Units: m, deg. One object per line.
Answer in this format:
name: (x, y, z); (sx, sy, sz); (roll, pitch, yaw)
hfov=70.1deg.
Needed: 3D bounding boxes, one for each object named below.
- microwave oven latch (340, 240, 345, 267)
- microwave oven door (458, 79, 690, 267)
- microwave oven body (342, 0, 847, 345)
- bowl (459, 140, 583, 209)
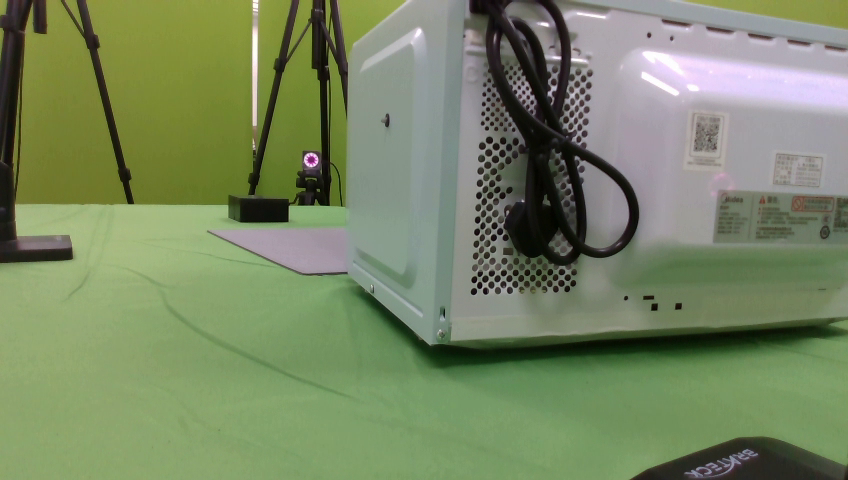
microwave oven latch: (-0.052, 0.016, 0.662); (0.079, 0.029, 0.030); (1, 7, -18)
microwave oven door: (0.200, -0.104, 0.895); (0.354, 0.243, 0.039); (9, 10, 42)
microwave oven body: (0.169, -0.060, 0.573); (0.444, 0.260, 0.324); (1, 7, -20)
bowl: (0.115, -0.080, 0.738); (0.151, 0.077, 0.151); (3, 9, 0)
